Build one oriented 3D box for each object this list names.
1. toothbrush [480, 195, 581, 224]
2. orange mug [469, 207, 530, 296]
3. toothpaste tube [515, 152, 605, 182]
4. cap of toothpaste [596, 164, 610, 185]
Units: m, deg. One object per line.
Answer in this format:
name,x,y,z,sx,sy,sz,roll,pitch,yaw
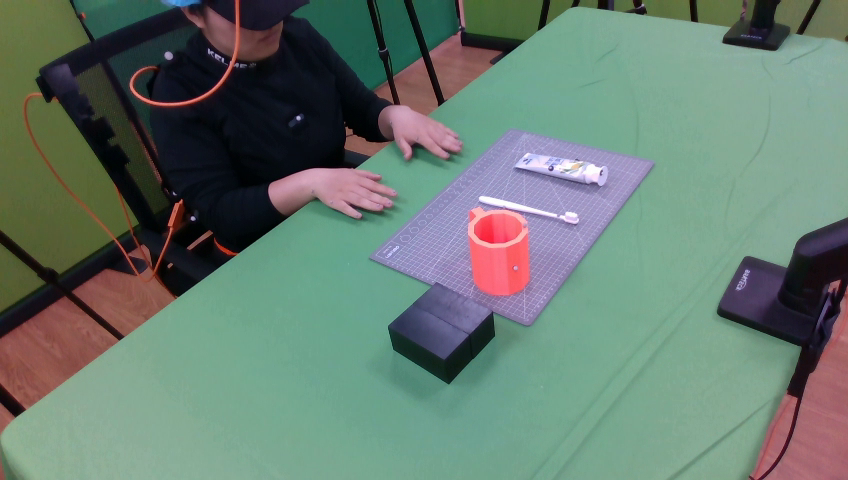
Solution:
toothbrush,0.175,-0.054,1.016,0.180,0.017,0.014,15,59,29
orange mug,0.104,0.008,0.894,0.084,0.101,0.125,-22,46,-14
toothpaste tube,0.248,-0.133,1.087,0.164,0.034,0.055,17,42,34
cap of toothpaste,0.307,-0.113,1.041,0.011,0.037,0.037,20,48,39
